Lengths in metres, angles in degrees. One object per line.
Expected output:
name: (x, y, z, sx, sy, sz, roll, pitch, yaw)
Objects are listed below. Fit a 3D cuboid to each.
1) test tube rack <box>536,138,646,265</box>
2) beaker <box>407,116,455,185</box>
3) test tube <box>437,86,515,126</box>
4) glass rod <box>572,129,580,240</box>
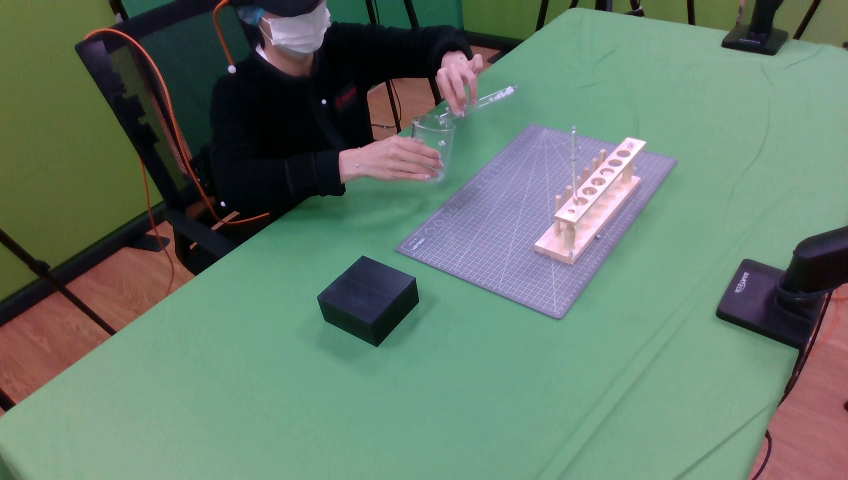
test tube rack: (0.268, -0.071, 0.964, 0.066, 0.085, 0.243, 23, 49, 32)
beaker: (0.012, -0.152, 1.024, 0.073, 0.100, 0.084, 32, 37, 33)
test tube: (0.090, -0.229, 1.023, 0.151, 0.017, 0.017, -26, 43, -15)
glass rod: (0.220, -0.074, 0.871, 0.008, 0.201, 0.008, -8, 42, 8)
